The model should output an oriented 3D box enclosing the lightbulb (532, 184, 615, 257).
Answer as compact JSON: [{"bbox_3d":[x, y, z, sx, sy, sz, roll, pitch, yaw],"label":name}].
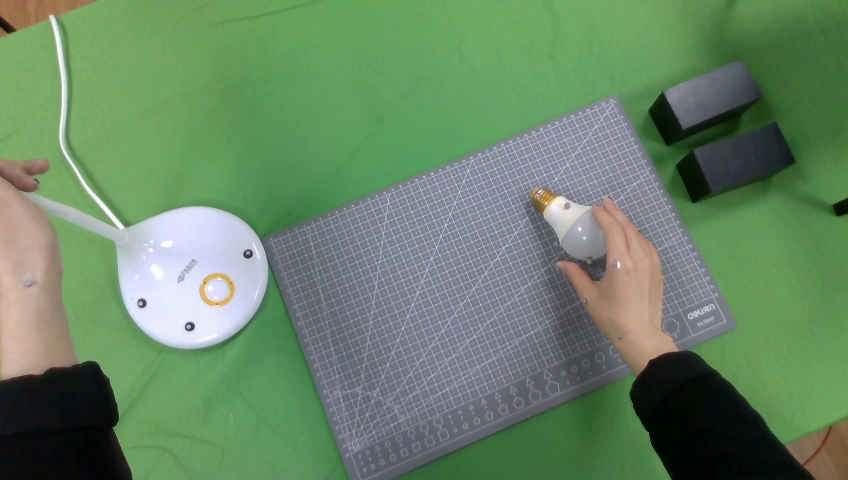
[{"bbox_3d":[0.160,-0.026,0.667,0.059,0.060,0.107,-43,65,-7],"label":"lightbulb"}]

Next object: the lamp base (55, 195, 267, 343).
[{"bbox_3d":[-0.269,0.013,0.603,0.179,0.181,0.160,23,79,8],"label":"lamp base"}]
